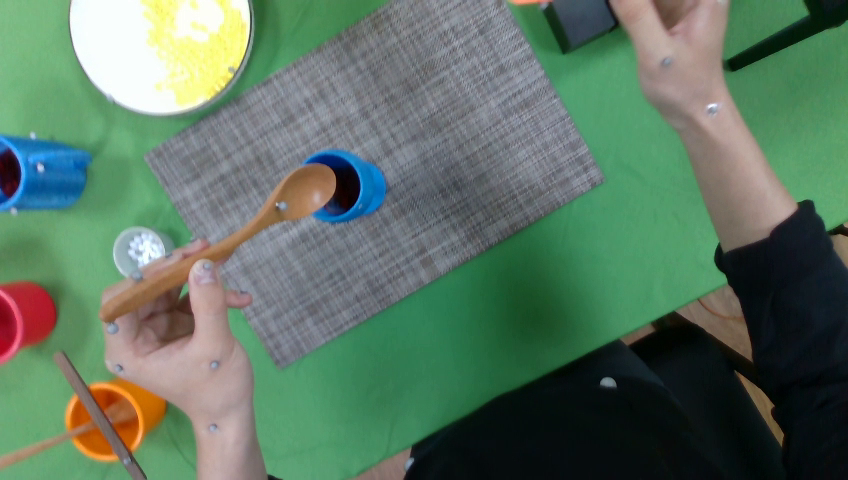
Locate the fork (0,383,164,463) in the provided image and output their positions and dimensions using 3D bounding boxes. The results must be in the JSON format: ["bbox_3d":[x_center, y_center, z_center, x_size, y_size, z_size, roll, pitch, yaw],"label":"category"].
[{"bbox_3d":[-0.399,0.211,0.677,0.208,0.018,0.028,-20,103,-40],"label":"fork"}]

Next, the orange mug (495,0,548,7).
[{"bbox_3d":[0.084,-0.204,0.414,0.126,0.100,0.084,24,120,0],"label":"orange mug"}]

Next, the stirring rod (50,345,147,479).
[{"bbox_3d":[-0.360,0.192,0.671,0.014,0.006,0.176,-31,94,5],"label":"stirring rod"}]

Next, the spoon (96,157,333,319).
[{"bbox_3d":[-0.124,-0.006,0.394,0.021,0.193,0.042,19,128,21],"label":"spoon"}]

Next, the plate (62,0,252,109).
[{"bbox_3d":[-0.294,-0.250,0.679,0.209,0.038,0.209,0,97,1],"label":"plate"}]

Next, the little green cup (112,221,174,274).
[{"bbox_3d":[-0.326,0.007,0.708,0.061,0.038,0.061,0,97,2],"label":"little green cup"}]

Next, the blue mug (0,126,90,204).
[{"bbox_3d":[-0.432,-0.086,0.668,0.116,0.105,0.082,-17,95,3],"label":"blue mug"}]

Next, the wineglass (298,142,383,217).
[{"bbox_3d":[-0.083,-0.061,0.622,0.074,0.172,0.074,0,95,2],"label":"wineglass"}]
